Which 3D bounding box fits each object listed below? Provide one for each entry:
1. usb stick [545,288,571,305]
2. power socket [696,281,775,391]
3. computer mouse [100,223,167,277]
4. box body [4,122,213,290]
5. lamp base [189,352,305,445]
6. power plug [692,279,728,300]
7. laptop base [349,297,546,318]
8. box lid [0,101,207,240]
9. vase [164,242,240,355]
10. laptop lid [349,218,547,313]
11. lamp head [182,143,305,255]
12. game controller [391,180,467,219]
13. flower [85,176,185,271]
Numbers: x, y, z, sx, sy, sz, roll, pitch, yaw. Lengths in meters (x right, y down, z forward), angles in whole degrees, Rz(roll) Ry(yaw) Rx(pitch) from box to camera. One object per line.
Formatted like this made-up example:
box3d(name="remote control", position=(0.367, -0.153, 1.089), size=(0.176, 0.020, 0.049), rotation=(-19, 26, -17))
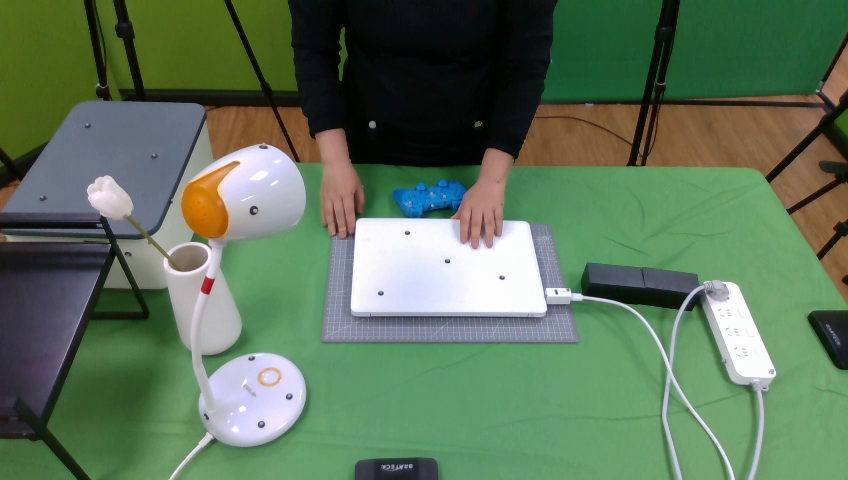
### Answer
box3d(name="usb stick", position=(0.236, 0.103, 1.101), size=(0.059, 0.027, 0.021), rotation=(-2, 46, 1))
box3d(name="power socket", position=(0.550, 0.160, 1.078), size=(0.072, 0.033, 0.225), rotation=(2, 46, -2))
box3d(name="computer mouse", position=(-0.539, 0.015, 1.122), size=(0.062, 0.041, 0.117), rotation=(30, 57, 18))
box3d(name="box body", position=(-0.563, -0.086, 1.138), size=(0.254, 0.161, 0.361), rotation=(2, 46, -3))
box3d(name="lamp base", position=(-0.268, 0.197, 0.876), size=(0.160, 0.181, 0.179), rotation=(26, 52, 20))
box3d(name="power plug", position=(0.522, 0.091, 1.116), size=(0.072, 0.053, 0.035), rotation=(10, 47, 8))
box3d(name="laptop base", position=(0.041, 0.055, 1.149), size=(0.355, 0.023, 0.234), rotation=(0, 43, -4))
box3d(name="box lid", position=(-0.559, -0.137, 1.083), size=(0.263, 0.015, 0.369), rotation=(2, 46, -2))
box3d(name="vase", position=(-0.350, 0.096, 0.954), size=(0.098, 0.201, 0.097), rotation=(3, 47, -3))
box3d(name="laptop lid", position=(0.041, 0.042, 1.139), size=(0.357, 0.013, 0.240), rotation=(2, 47, -3))
box3d(name="lamp head", position=(-0.216, -0.044, 0.697), size=(0.112, 0.113, 0.123), rotation=(23, 31, 17))
box3d(name="game controller", position=(0.016, -0.092, 1.273), size=(0.155, 0.052, 0.096), rotation=(-11, 51, -14))
box3d(name="flower", position=(-0.365, 0.038, 0.894), size=(0.038, 0.364, 0.044), rotation=(-6, 53, 14))
